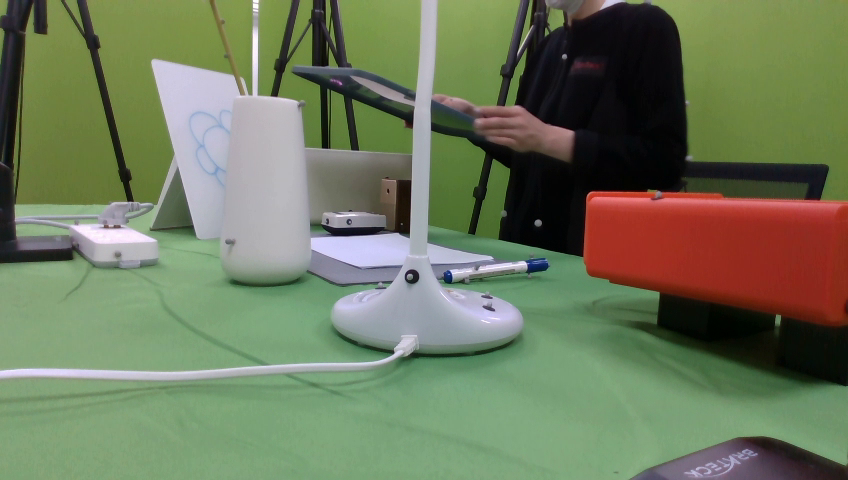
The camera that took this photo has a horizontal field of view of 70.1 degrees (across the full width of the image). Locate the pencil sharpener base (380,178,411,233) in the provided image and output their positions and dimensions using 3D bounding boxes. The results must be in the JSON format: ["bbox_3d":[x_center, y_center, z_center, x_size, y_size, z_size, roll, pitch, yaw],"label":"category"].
[{"bbox_3d":[-0.042,-0.071,1.222,0.077,0.107,0.061,-2,8,-37],"label":"pencil sharpener base"}]

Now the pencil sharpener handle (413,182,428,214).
[{"bbox_3d":[-0.003,-0.086,1.254,0.031,0.067,0.036,-2,20,-37],"label":"pencil sharpener handle"}]

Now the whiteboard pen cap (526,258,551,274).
[{"bbox_3d":[0.141,0.033,0.759,0.033,0.018,0.018,-7,11,-26],"label":"whiteboard pen cap"}]

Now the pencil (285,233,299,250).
[{"bbox_3d":[-0.209,0.000,0.969,0.012,0.012,0.193,1,6,-8],"label":"pencil"}]

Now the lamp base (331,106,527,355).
[{"bbox_3d":[0.006,-0.012,0.478,0.161,0.180,0.179,2,10,2],"label":"lamp base"}]

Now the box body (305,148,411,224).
[{"bbox_3d":[-0.230,-0.126,1.371,0.366,0.160,0.253,-2,8,-33],"label":"box body"}]

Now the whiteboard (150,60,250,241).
[{"bbox_3d":[-0.408,-0.139,1.093,0.143,0.305,0.218,-15,-1,26],"label":"whiteboard"}]

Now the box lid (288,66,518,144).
[{"bbox_3d":[-0.035,-0.237,1.076,0.374,0.015,0.262,13,5,-38],"label":"box lid"}]

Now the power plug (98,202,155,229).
[{"bbox_3d":[-0.416,-0.027,0.848,0.073,0.052,0.035,0,8,-28],"label":"power plug"}]

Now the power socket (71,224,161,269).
[{"bbox_3d":[-0.408,0.004,0.793,0.072,0.032,0.225,-2,8,-38],"label":"power socket"}]

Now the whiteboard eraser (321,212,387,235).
[{"bbox_3d":[-0.128,-0.031,1.108,0.113,0.042,0.055,-3,8,-38],"label":"whiteboard eraser"}]

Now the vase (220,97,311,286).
[{"bbox_3d":[-0.172,-0.052,0.662,0.098,0.200,0.098,3,9,0],"label":"vase"}]

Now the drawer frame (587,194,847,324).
[{"bbox_3d":[0.285,0.004,0.508,0.203,0.082,0.212,-1,6,-30],"label":"drawer frame"}]

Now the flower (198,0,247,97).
[{"bbox_3d":[-0.187,-0.133,0.648,0.038,0.362,0.044,-1,22,43],"label":"flower"}]

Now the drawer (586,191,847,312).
[{"bbox_3d":[0.281,0.001,0.512,0.195,0.073,0.210,-1,8,-29],"label":"drawer"}]

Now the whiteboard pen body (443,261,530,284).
[{"bbox_3d":[0.087,0.037,0.734,0.141,0.017,0.017,-6,10,-27],"label":"whiteboard pen body"}]
